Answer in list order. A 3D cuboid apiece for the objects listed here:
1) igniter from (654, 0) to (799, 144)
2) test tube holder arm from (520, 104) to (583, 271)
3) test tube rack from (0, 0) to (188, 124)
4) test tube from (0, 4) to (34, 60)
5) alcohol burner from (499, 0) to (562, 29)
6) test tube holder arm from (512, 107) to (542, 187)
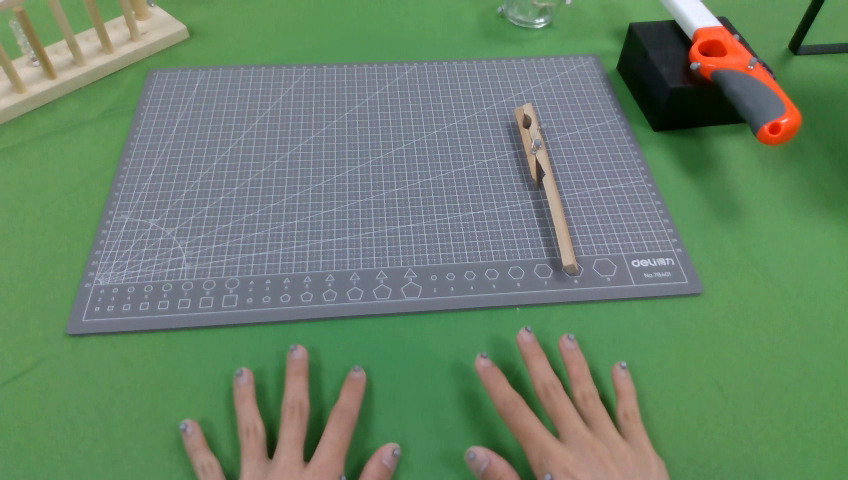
[{"bbox_3d":[0.256,-0.179,0.547,0.057,0.025,0.273,-7,49,-4],"label":"igniter"},{"bbox_3d":[0.102,-0.049,0.499,0.013,0.015,0.176,-28,49,22],"label":"test tube holder arm"},{"bbox_3d":[-0.352,-0.188,0.557,0.066,0.086,0.242,38,59,25],"label":"test tube rack"},{"bbox_3d":[-0.370,-0.223,0.521,0.017,0.151,0.017,2,48,-2],"label":"test tube"},{"bbox_3d":[0.115,-0.286,0.633,0.078,0.120,0.077,1,53,0],"label":"alcohol burner"},{"bbox_3d":[0.092,-0.082,0.528,0.010,0.015,0.087,-27,49,23],"label":"test tube holder arm"}]
